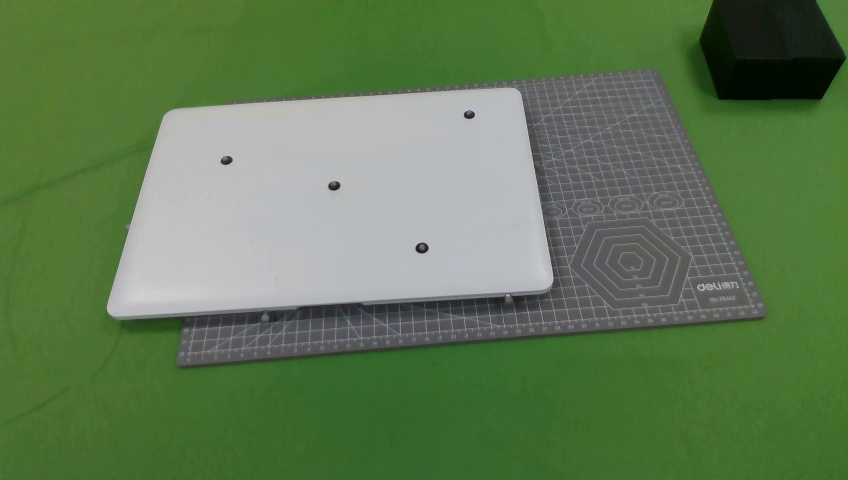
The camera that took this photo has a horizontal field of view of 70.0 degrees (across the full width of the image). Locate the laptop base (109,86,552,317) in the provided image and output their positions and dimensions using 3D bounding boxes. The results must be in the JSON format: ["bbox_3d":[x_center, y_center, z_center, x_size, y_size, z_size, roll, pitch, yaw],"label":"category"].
[{"bbox_3d":[-0.078,-0.042,0.542,0.354,0.023,0.233,-4,57,1],"label":"laptop base"}]

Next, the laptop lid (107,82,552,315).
[{"bbox_3d":[-0.079,-0.048,0.531,0.357,0.013,0.239,-2,56,2],"label":"laptop lid"}]
